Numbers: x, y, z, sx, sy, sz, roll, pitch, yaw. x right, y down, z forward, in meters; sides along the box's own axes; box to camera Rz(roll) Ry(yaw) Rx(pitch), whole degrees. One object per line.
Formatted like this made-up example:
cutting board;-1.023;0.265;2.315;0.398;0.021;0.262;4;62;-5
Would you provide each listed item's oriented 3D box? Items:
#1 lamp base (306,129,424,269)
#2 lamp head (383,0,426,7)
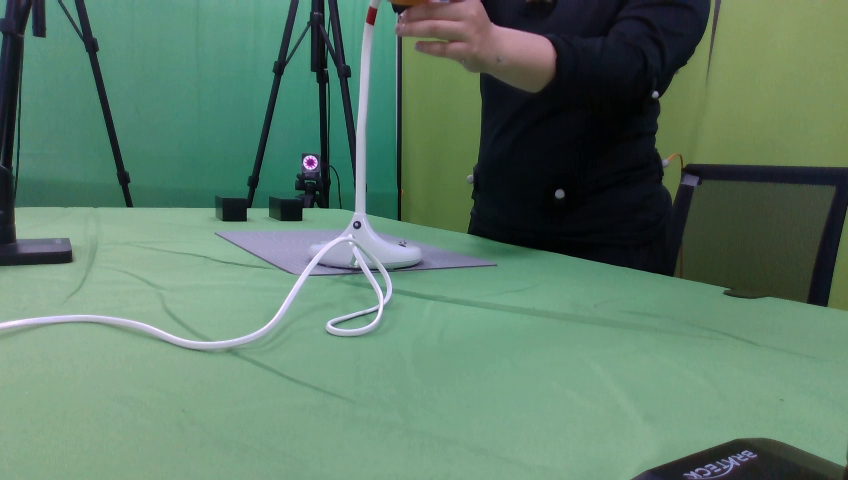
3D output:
lamp base;-0.077;-0.057;0.810;0.161;0.180;0.179;2;10;-4
lamp head;-0.024;-0.325;0.670;0.112;0.123;0.112;4;3;0
